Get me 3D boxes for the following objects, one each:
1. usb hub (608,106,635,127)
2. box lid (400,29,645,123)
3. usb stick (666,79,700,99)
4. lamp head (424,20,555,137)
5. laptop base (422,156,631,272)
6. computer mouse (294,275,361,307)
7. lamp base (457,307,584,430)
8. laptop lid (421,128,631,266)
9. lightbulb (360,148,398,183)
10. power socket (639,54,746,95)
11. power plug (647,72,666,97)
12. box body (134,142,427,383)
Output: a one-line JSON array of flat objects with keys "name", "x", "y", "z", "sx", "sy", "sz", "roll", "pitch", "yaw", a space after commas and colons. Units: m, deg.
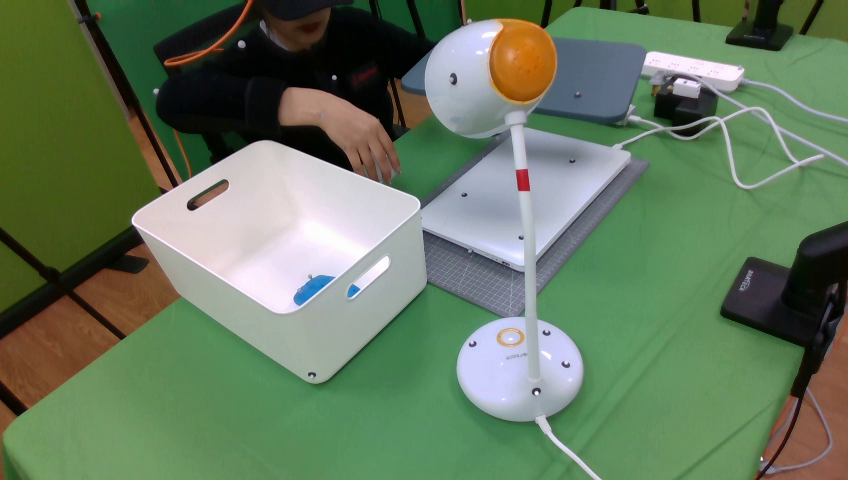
[{"name": "usb hub", "x": 0.360, "y": -0.263, "z": 1.229, "sx": 0.124, "sy": 0.025, "sz": 0.049, "roll": 24, "pitch": 50, "yaw": 34}, {"name": "box lid", "x": 0.172, "y": -0.286, "z": 1.023, "sx": 0.370, "sy": 0.015, "sz": 0.263, "roll": 13, "pitch": 44, "yaw": 19}, {"name": "usb stick", "x": 0.492, "y": -0.288, "z": 1.152, "sx": 0.058, "sy": 0.027, "sz": 0.021, "roll": 20, "pitch": 50, "yaw": 34}, {"name": "lamp head", "x": 0.069, "y": -0.153, "z": 0.572, "sx": 0.113, "sy": 0.112, "sz": 0.122, "roll": -22, "pitch": 16, "yaw": -14}, {"name": "laptop base", "x": 0.176, "y": -0.083, "z": 1.055, "sx": 0.233, "sy": 0.023, "sz": 0.355, "roll": 21, "pitch": 48, "yaw": 36}, {"name": "computer mouse", "x": -0.138, "y": 0.084, "z": 0.891, "sx": 0.116, "sy": 0.041, "sz": 0.063, "roll": 19, "pitch": 49, "yaw": 37}, {"name": "lamp base", "x": 0.115, "y": 0.108, "z": 0.713, "sx": 0.161, "sy": 0.181, "sz": 0.178, "roll": -16, "pitch": 43, "yaw": -8}, {"name": "laptop lid", "x": 0.173, "y": -0.093, "z": 1.049, "sx": 0.239, "sy": 0.013, "sz": 0.358, "roll": 23, "pitch": 49, "yaw": 36}, {"name": "lightbulb", "x": -0.087, "y": -0.119, "z": 1.053, "sx": 0.107, "sy": 0.059, "sz": 0.059, "roll": -35, "pitch": 13, "yaw": 50}, {"name": "power socket", "x": 0.564, "y": -0.357, "z": 1.293, "sx": 0.225, "sy": 0.033, "sz": 0.072, "roll": 24, "pitch": 51, "yaw": 33}, {"name": "power plug", "x": 0.492, "y": -0.321, "z": 1.261, "sx": 0.073, "sy": 0.052, "sz": 0.035, "roll": 0, "pitch": 22, "yaw": -44}, {"name": "box body", "x": -0.201, "y": 0.018, "z": 0.896, "sx": 0.361, "sy": 0.161, "sz": 0.255, "roll": 23, "pitch": 50, "yaw": 33}]
